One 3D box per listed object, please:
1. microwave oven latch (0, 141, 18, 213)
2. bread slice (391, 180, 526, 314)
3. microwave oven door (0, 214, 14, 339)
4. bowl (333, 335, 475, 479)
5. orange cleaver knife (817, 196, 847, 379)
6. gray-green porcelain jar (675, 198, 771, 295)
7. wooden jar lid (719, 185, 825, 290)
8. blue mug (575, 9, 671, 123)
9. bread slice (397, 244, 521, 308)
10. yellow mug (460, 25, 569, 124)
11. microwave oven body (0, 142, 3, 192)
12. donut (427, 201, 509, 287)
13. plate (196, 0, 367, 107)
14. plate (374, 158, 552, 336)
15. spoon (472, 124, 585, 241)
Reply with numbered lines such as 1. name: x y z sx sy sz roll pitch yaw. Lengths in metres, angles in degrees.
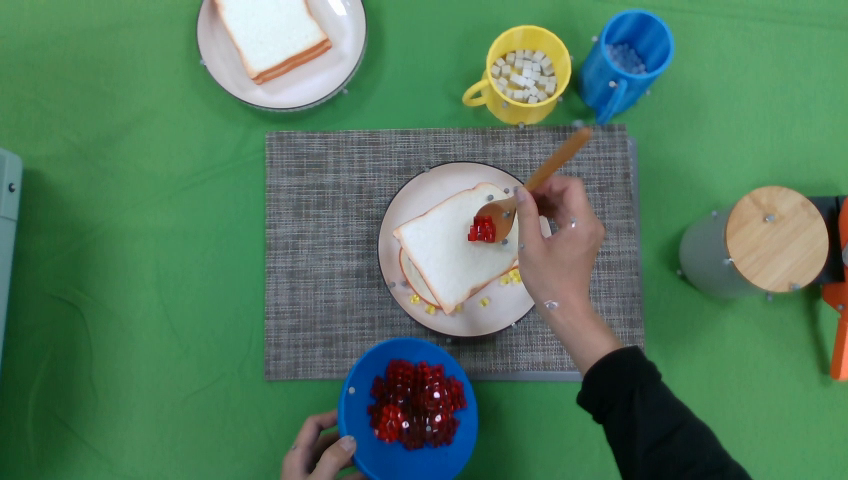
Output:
1. microwave oven latch: -0.493 -0.073 0.699 0.030 0.029 0.079 4 83 -1
2. bread slice: 0.043 -0.002 0.657 0.134 0.018 0.107 -36 91 -13
3. microwave oven door: -0.498 0.129 0.569 0.039 0.244 0.354 1 82 0
4. bowl: -0.031 0.181 0.627 0.152 0.077 0.150 13 62 -24
5. orange cleaver knife: 0.480 0.056 0.699 0.012 0.076 0.212 -2 108 -1
6. gray-green porcelain jar: 0.352 0.008 0.681 0.106 0.127 0.105 0 82 -1
7. wooden jar lid: 0.352 -0.002 0.619 0.108 0.021 0.108 0 85 -3
8. blue mug: 0.227 -0.194 0.717 0.082 0.106 0.116 20 82 2
9. bread slice: 0.036 0.019 0.717 0.131 0.019 0.104 -32 81 -9
10. yellow mug: 0.105 -0.193 0.734 0.131 0.064 0.099 -21 82 -3
11. microwave oven body: -0.643 0.084 0.577 0.326 0.260 0.440 1 83 -1
12. donut: 0.051 0.005 0.688 0.099 0.048 0.098 3 80 -19
13. plate: -0.173 -0.260 0.751 0.208 0.039 0.207 0 82 -1
14. plate: 0.045 0.008 0.715 0.209 0.038 0.208 0 82 -1
15. spoon: 0.094 -0.049 0.570 0.021 0.194 0.041 -32 81 -29
